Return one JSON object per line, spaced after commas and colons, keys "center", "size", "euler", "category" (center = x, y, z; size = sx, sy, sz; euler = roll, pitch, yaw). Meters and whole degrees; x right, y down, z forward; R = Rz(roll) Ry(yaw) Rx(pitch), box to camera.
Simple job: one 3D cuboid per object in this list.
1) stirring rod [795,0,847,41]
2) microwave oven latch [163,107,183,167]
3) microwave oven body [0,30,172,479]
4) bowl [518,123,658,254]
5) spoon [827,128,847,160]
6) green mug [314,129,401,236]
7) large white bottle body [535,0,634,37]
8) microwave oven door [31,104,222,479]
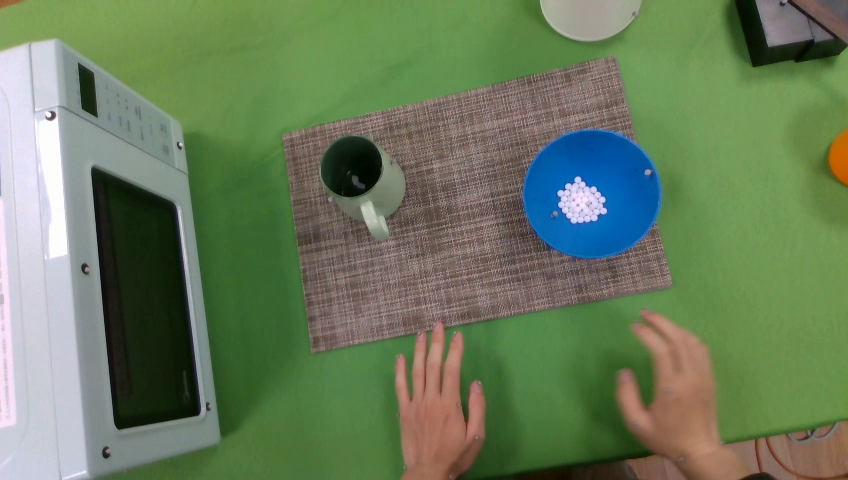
{"center": [0.448, -0.265, 0.692], "size": [0.175, 0.006, 0.014], "euler": [46, 124, 12], "category": "stirring rod"}
{"center": [-0.345, -0.134, 0.809], "size": [0.030, 0.029, 0.079], "euler": [-13, 80, 6], "category": "microwave oven latch"}
{"center": [-0.469, 0.051, 0.699], "size": [0.326, 0.261, 0.439], "euler": [-13, 80, 6], "category": "microwave oven body"}
{"center": [0.187, -0.052, 0.710], "size": [0.151, 0.077, 0.151], "euler": [-2, 80, 9], "category": "bowl"}
{"center": [0.530, -0.100, 0.634], "size": [0.022, 0.192, 0.041], "euler": [33, 81, -32], "category": "spoon"}
{"center": [-0.075, -0.065, 0.738], "size": [0.092, 0.105, 0.124], "euler": [-20, 78, 4], "category": "green mug"}
{"center": [0.195, -0.339, 0.704], "size": [0.130, 0.185, 0.130], "euler": [-1, 80, 9], "category": "large white bottle body"}
{"center": [-0.320, 0.059, 0.670], "size": [0.039, 0.245, 0.354], "euler": [-13, 79, 7], "category": "microwave oven door"}
